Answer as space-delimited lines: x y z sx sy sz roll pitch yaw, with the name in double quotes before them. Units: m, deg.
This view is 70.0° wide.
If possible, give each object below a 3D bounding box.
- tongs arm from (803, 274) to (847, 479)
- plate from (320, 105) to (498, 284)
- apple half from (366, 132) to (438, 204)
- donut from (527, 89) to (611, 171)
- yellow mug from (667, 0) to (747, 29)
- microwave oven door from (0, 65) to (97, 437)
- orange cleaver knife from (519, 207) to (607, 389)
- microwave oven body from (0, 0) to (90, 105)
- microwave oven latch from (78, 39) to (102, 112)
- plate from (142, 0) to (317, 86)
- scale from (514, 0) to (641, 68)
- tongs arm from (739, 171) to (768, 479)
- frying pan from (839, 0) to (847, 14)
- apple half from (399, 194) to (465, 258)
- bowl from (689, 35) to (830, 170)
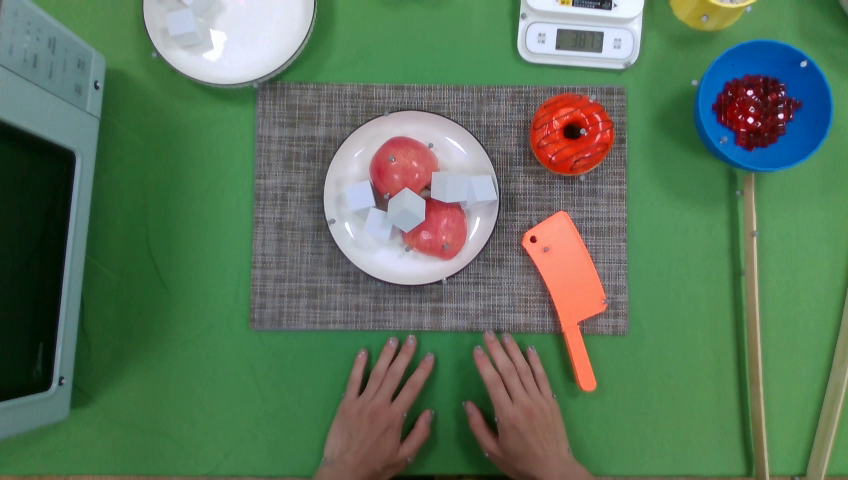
"tongs arm" 0.482 0.119 0.709 0.028 0.028 0.387 15 86 -6
"plate" -0.017 -0.052 0.714 0.209 0.038 0.208 0 86 0
"apple half" -0.027 -0.088 0.702 0.081 0.053 0.074 -44 84 -4
"donut" 0.170 -0.130 0.716 0.099 0.048 0.099 0 86 2
"yellow mug" 0.340 -0.327 0.724 0.100 0.064 0.130 -32 85 -2
"microwave oven door" -0.417 0.016 0.594 0.039 0.244 0.355 3 85 1
"orange cleaver knife" 0.175 0.066 0.714 0.077 0.012 0.210 -17 84 -6
"microwave oven body" -0.560 -0.035 0.603 0.326 0.260 0.440 3 86 0
"microwave oven latch" -0.400 -0.193 0.711 0.030 0.029 0.079 5 86 0
"plate" -0.231 -0.285 0.737 0.208 0.039 0.207 0 85 0
"scale" 0.192 -0.316 0.741 0.148 0.031 0.200 5 86 1
"tongs arm" 0.398 0.111 0.706 0.051 0.026 0.384 1 87 -4
"frying pan" 0.663 -0.258 0.698 0.307 0.103 0.485 -26 78 -1
"apple half" 0.009 -0.019 0.705 0.081 0.033 0.081 0 86 4
"bowl" 0.373 -0.149 0.704 0.151 0.077 0.151 0 86 1
